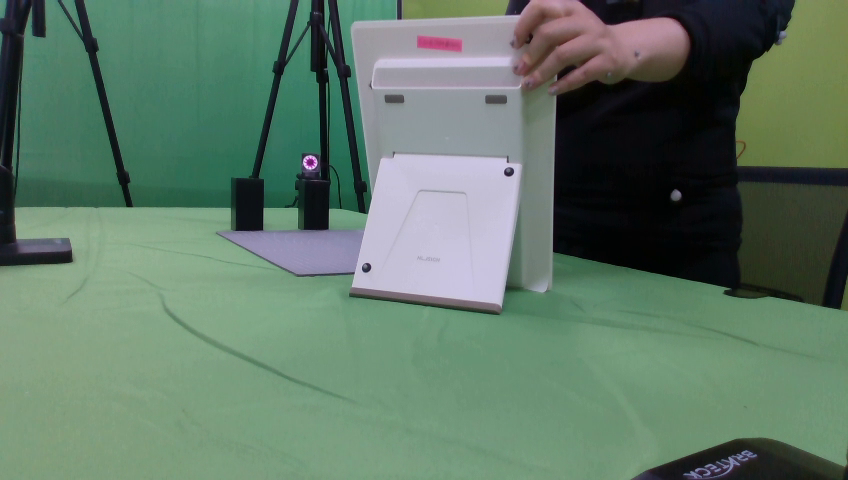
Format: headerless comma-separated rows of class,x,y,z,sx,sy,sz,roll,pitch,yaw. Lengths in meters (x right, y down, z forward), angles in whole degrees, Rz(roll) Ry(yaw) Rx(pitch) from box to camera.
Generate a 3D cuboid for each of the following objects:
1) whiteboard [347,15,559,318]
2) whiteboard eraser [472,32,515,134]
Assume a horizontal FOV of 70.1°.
whiteboard,0.012,-0.055,0.608,0.216,0.305,0.144,6,27,20
whiteboard eraser,0.071,-0.160,0.620,0.041,0.101,0.019,6,22,15
